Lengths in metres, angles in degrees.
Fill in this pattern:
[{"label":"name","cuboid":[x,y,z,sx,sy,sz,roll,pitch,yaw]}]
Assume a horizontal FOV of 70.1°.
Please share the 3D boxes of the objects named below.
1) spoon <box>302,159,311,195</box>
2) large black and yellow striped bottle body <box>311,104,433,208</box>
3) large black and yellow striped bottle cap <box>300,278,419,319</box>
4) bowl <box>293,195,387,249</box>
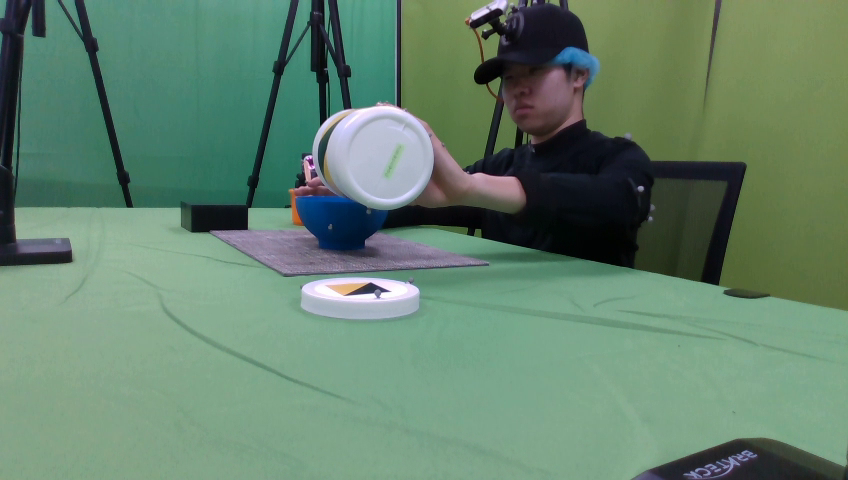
[{"label":"spoon","cuboid":[-0.257,-0.113,1.341,0.042,0.193,0.021,3,-38,-18]},{"label":"large black and yellow striped bottle body","cuboid":[-0.080,-0.117,0.831,0.131,0.130,0.183,-1,10,-23]},{"label":"large black and yellow striped bottle cap","cuboid":[-0.062,0.055,0.588,0.115,0.019,0.115,1,6,0]},{"label":"bowl","cuboid":[-0.132,-0.029,0.962,0.151,0.077,0.151,2,7,0]}]
